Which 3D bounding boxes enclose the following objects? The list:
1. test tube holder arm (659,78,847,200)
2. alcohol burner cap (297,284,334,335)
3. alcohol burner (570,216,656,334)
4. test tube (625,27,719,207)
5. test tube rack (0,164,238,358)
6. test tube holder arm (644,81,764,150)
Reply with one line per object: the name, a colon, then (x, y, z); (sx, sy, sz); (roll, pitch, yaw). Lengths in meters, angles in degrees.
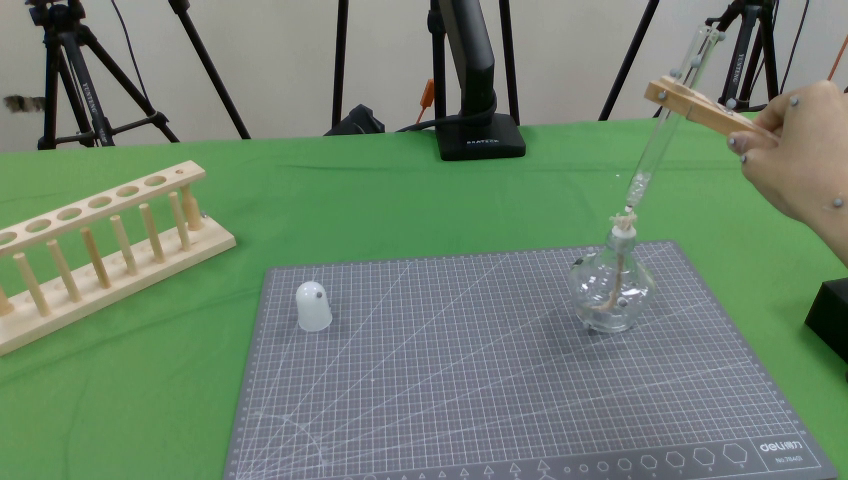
test tube holder arm: (0.231, -0.066, 0.410); (0.013, 0.015, 0.176); (-23, 50, -31)
alcohol burner cap: (-0.103, 0.062, 0.570); (0.034, 0.048, 0.033); (-1, 36, 1)
alcohol burner: (0.173, 0.027, 0.548); (0.078, 0.120, 0.077); (0, 38, 1)
test tube: (0.183, -0.086, 0.459); (0.017, 0.151, 0.017); (6, 40, -5)
test tube rack: (-0.321, 0.012, 0.614); (0.242, 0.086, 0.066); (-30, 44, -33)
test tube holder arm: (0.198, -0.089, 0.430); (0.087, 0.015, 0.010); (36, 47, 28)
